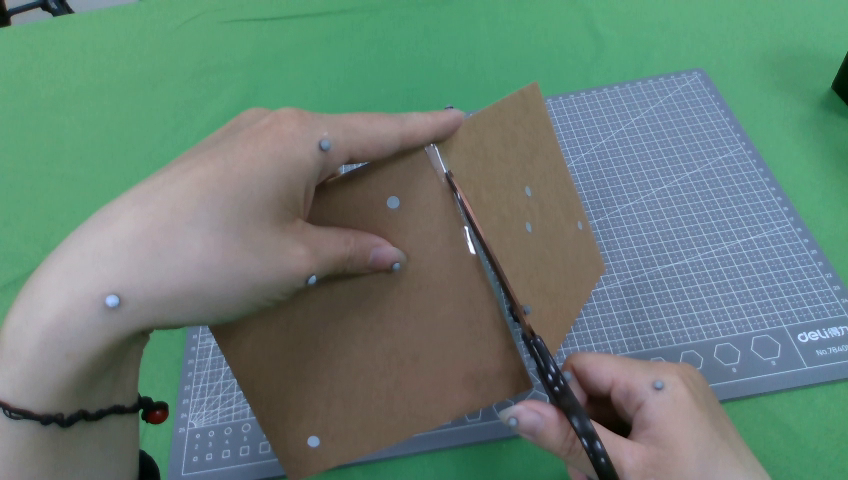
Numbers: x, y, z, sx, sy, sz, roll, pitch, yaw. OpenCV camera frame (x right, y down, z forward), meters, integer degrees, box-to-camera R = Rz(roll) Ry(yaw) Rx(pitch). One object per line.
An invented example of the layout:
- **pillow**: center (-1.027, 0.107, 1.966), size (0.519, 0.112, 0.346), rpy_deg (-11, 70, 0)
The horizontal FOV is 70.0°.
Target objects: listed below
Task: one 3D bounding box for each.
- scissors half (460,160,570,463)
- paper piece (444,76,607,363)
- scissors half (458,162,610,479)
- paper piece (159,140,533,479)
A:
- **scissors half**: center (0.050, 0.042, 0.295), size (0.013, 0.176, 0.040), rpy_deg (-22, 15, 4)
- **paper piece**: center (0.068, -0.017, 0.343), size (0.004, 0.136, 0.135), rpy_deg (-14, 15, 36)
- **scissors half**: center (0.051, 0.045, 0.275), size (0.013, 0.040, 0.175), rpy_deg (-23, 88, -2)
- **paper piece**: center (-0.034, 0.039, 0.295), size (0.138, 0.136, 0.008), rpy_deg (-23, 12, 0)
